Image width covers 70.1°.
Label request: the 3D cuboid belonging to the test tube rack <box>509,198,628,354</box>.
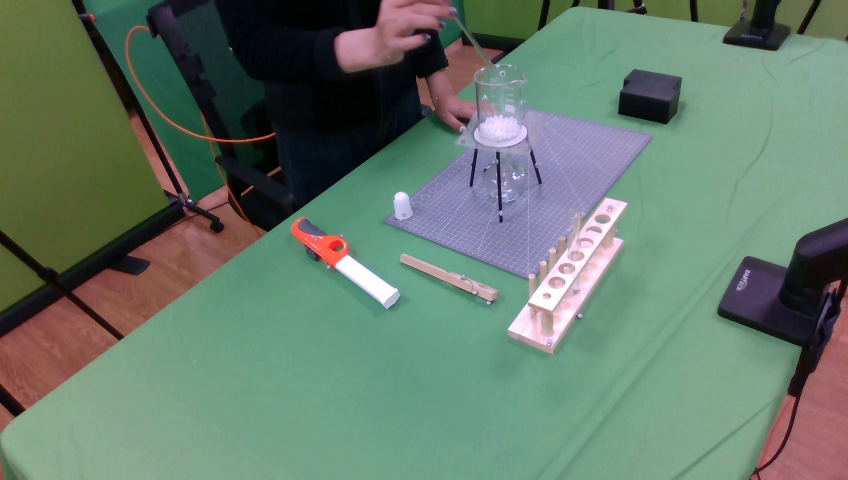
[{"bbox_3d":[0.206,0.039,0.850,0.066,0.085,0.243,20,48,31],"label":"test tube rack"}]

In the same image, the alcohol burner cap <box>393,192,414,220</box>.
[{"bbox_3d":[-0.038,-0.061,1.043,0.034,0.048,0.033,-5,41,5],"label":"alcohol burner cap"}]

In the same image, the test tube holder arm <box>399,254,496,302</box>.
[{"bbox_3d":[0.032,0.054,0.914,0.177,0.015,0.013,21,16,32],"label":"test tube holder arm"}]

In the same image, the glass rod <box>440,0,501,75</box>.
[{"bbox_3d":[0.047,-0.301,0.824,0.008,0.201,0.008,-33,30,23],"label":"glass rod"}]

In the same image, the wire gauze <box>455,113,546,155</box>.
[{"bbox_3d":[0.124,-0.175,0.973,0.124,0.011,0.121,8,40,21],"label":"wire gauze"}]

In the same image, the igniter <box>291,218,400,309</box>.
[{"bbox_3d":[-0.136,0.031,0.970,0.057,0.025,0.274,-41,49,-19],"label":"igniter"}]

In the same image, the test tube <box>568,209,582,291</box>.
[{"bbox_3d":[0.200,0.017,0.799,0.017,0.151,0.017,-8,45,8],"label":"test tube"}]

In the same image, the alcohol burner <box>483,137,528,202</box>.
[{"bbox_3d":[0.138,-0.125,1.030,0.078,0.119,0.077,-4,41,4],"label":"alcohol burner"}]

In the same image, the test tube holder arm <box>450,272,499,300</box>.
[{"bbox_3d":[0.071,0.068,0.895,0.087,0.015,0.010,21,16,32],"label":"test tube holder arm"}]

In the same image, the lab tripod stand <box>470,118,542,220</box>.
[{"bbox_3d":[0.135,-0.128,1.019,0.148,0.132,0.147,-5,38,5],"label":"lab tripod stand"}]

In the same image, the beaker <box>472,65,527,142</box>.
[{"bbox_3d":[0.120,-0.211,0.942,0.083,0.101,0.074,10,42,22],"label":"beaker"}]
